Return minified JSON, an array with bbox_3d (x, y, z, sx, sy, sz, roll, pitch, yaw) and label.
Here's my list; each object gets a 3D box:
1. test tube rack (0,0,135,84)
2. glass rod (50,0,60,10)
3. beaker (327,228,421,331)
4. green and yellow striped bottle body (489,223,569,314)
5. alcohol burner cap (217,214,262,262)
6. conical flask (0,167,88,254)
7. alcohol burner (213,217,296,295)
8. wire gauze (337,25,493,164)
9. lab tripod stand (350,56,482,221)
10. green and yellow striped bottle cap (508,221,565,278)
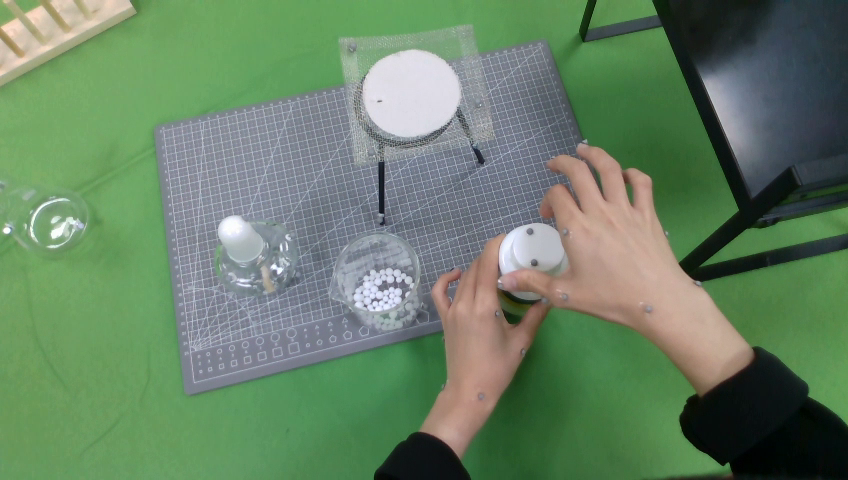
[{"bbox_3d":[-0.464,-0.246,0.673,0.242,0.086,0.066,-33,74,-9],"label":"test tube rack"},{"bbox_3d":[-0.427,-0.311,0.624,0.008,0.201,0.008,1,68,-2],"label":"glass rod"},{"bbox_3d":[-0.041,0.043,0.556,0.084,0.101,0.073,-25,72,-6],"label":"beaker"},{"bbox_3d":[0.093,0.025,0.548,0.063,0.120,0.063,-1,72,2],"label":"green and yellow striped bottle body"},{"bbox_3d":[-0.164,-0.004,0.529,0.034,0.048,0.033,0,64,0],"label":"alcohol burner cap"},{"bbox_3d":[-0.391,-0.038,0.583,0.075,0.122,0.075,-1,71,2],"label":"conical flask"},{"bbox_3d":[-0.162,0.009,0.563,0.078,0.120,0.077,0,69,0],"label":"alcohol burner"},{"bbox_3d":[-0.009,-0.131,0.524,0.121,0.011,0.124,-8,72,-3],"label":"wire gauze"},{"bbox_3d":[-0.013,-0.103,0.586,0.148,0.132,0.147,0,70,1],"label":"lab tripod stand"},{"bbox_3d":[0.093,0.007,0.497,0.045,0.020,0.045,0,71,2],"label":"green and yellow striped bottle cap"}]
